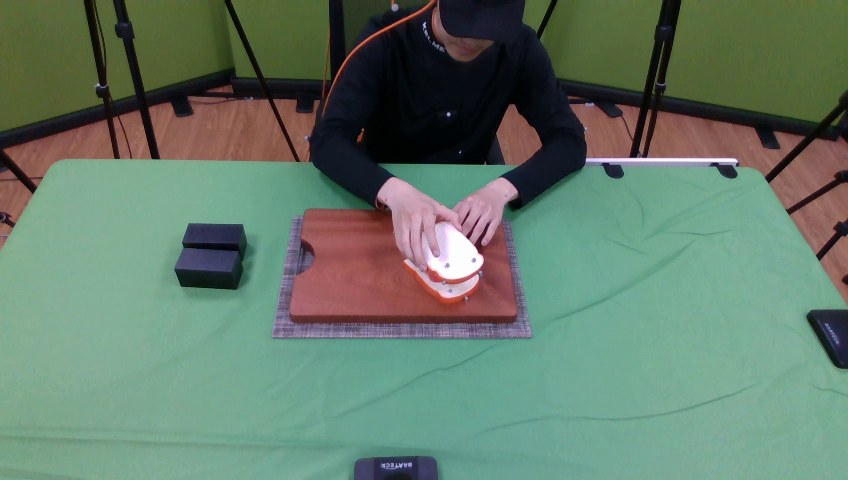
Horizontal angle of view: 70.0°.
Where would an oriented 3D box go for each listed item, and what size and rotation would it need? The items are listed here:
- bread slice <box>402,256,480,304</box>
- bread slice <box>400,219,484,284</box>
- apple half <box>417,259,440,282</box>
[{"bbox_3d":[0.040,0.057,1.106,0.105,0.019,0.131,-28,54,-25],"label":"bread slice"},{"bbox_3d":[0.040,0.023,1.069,0.107,0.018,0.133,-29,55,-28],"label":"bread slice"},{"bbox_3d":[0.028,0.035,1.095,0.081,0.033,0.081,1,48,-1],"label":"apple half"}]
